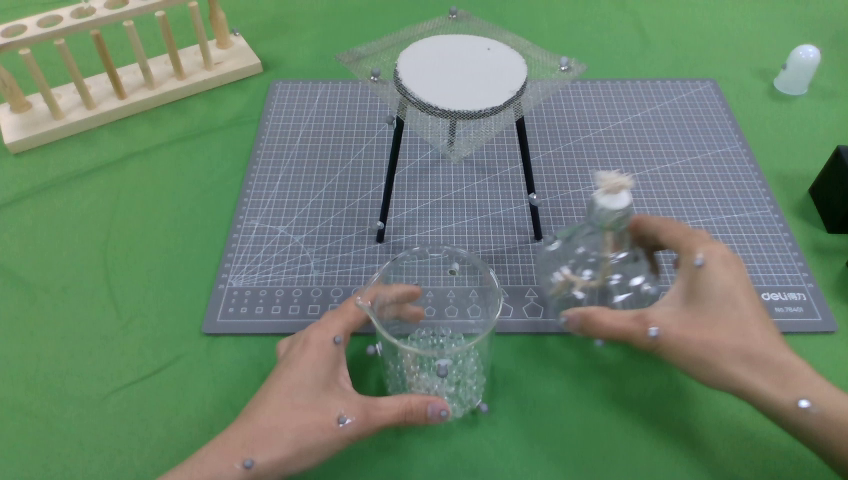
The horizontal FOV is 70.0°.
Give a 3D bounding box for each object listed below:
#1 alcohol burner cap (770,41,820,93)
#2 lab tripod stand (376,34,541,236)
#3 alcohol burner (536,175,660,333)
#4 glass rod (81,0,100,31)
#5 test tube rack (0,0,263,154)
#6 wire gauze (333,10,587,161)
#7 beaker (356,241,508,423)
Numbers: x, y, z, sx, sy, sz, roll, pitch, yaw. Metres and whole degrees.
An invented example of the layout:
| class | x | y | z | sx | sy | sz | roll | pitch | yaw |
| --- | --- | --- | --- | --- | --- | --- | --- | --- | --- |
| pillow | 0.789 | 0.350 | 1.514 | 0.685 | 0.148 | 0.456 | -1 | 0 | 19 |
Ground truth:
| class | x | y | z | sx | sy | sz | roll | pitch | yaw |
| --- | --- | --- | --- | --- | --- | --- | --- | --- | --- |
| alcohol burner cap | 0.368 | -0.173 | 0.597 | 0.034 | 0.048 | 0.033 | 0 | 50 | 0 |
| lab tripod stand | 0.028 | -0.071 | 0.452 | 0.148 | 0.132 | 0.147 | 1 | 50 | -1 |
| alcohol burner | 0.111 | 0.005 | 0.380 | 0.078 | 0.120 | 0.077 | -3 | 47 | 3 |
| glass rod | -0.298 | -0.217 | 0.524 | 0.008 | 0.201 | 0.008 | 3 | 50 | -4 |
| test tube rack | -0.287 | -0.174 | 0.575 | 0.242 | 0.086 | 0.066 | -25 | 54 | -19 |
| wire gauze | 0.023 | -0.112 | 0.399 | 0.121 | 0.011 | 0.124 | -33 | 58 | -25 |
| beaker | 0.004 | 0.061 | 0.369 | 0.084 | 0.101 | 0.073 | 1 | 50 | 1 |
